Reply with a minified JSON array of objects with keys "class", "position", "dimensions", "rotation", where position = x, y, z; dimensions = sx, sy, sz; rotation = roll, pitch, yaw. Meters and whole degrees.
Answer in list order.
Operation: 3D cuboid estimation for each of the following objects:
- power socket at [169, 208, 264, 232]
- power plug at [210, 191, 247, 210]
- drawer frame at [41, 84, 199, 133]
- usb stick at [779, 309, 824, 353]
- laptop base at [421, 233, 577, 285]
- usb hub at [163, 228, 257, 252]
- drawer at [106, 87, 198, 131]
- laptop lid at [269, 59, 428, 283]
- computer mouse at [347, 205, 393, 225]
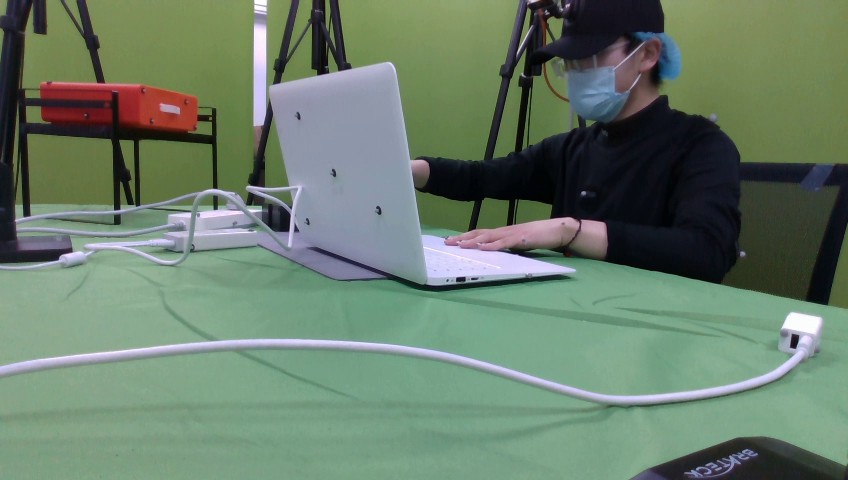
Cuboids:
[{"class":"power socket","position":[-0.381,-0.038,1.128],"dimensions":[0.072,0.032,0.227],"rotation":[4,8,17]},{"class":"power plug","position":[-0.386,-0.071,1.204],"dimensions":[0.072,0.052,0.035],"rotation":[8,11,25]},{"class":"drawer frame","position":[-0.604,-0.264,1.225],"dimensions":[0.213,0.082,0.202],"rotation":[3,8,8]},{"class":"usb stick","position":[0.311,0.072,0.496],"dimensions":[0.027,0.021,0.059],"rotation":[8,15,34]},{"class":"laptop base","position":[0.007,0.022,0.850],"dimensions":[0.237,0.023,0.352],"rotation":[1,7,-34]},{"class":"usb hub","position":[-0.314,0.000,0.894],"dimensions":[0.049,0.025,0.126],"rotation":[9,10,41]},{"class":"drawer","position":[-0.602,-0.263,1.225],"dimensions":[0.211,0.073,0.195],"rotation":[3,8,10]},{"class":"laptop lid","position":[-0.110,-0.087,0.752],"dimensions":[0.013,0.241,0.355],"rotation":[-18,19,-30]},{"class":"computer mouse","position":[-0.110,-0.048,1.226],"dimensions":[0.063,0.041,0.116],"rotation":[-2,-2,-27]}]
